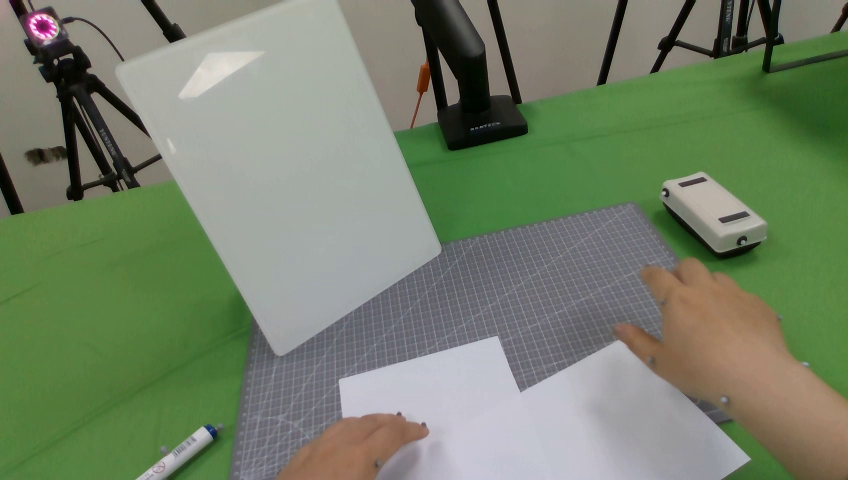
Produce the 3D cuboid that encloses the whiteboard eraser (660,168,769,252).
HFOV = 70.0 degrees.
[{"bbox_3d":[0.303,-0.032,0.639,0.055,0.042,0.111,-17,38,-4],"label":"whiteboard eraser"}]

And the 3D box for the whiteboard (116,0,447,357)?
[{"bbox_3d":[-0.148,-0.075,0.649,0.217,0.307,0.143,-32,21,-23],"label":"whiteboard"}]

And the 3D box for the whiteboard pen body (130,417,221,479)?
[{"bbox_3d":[-0.232,0.199,0.505,0.017,0.017,0.140,24,49,37],"label":"whiteboard pen body"}]
